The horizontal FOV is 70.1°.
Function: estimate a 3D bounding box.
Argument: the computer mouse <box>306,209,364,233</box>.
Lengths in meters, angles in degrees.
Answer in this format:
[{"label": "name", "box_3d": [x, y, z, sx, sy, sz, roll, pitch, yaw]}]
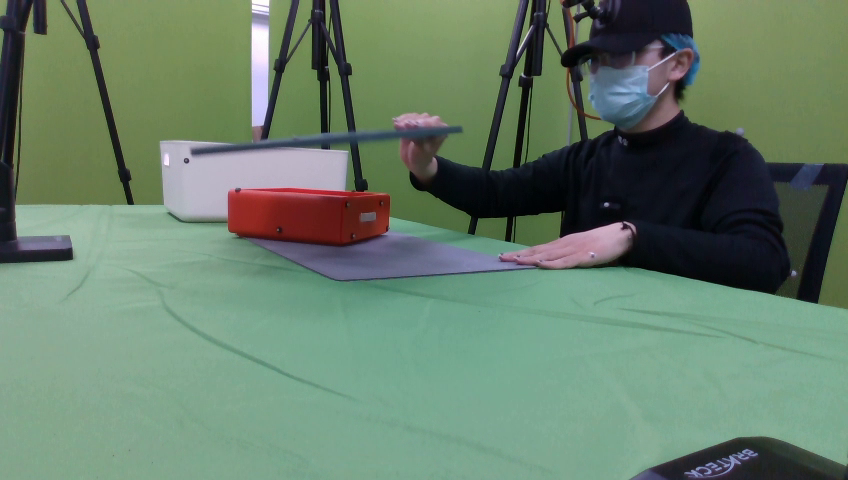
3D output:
[{"label": "computer mouse", "box_3d": [-0.153, -0.032, 1.052, 0.062, 0.041, 0.117, 1, 0, 18]}]

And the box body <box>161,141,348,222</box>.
[{"label": "box body", "box_3d": [-0.379, -0.132, 1.352, 0.366, 0.160, 0.253, -2, 8, -30]}]

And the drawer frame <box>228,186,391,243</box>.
[{"label": "drawer frame", "box_3d": [-0.193, -0.050, 1.060, 0.213, 0.082, 0.202, 4, 8, 17]}]

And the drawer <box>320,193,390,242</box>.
[{"label": "drawer", "box_3d": [-0.189, -0.048, 1.060, 0.211, 0.073, 0.195, 4, 8, 18]}]

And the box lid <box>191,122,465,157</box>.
[{"label": "box lid", "box_3d": [-0.111, -0.145, 0.860, 0.262, 0.015, 0.372, 0, 12, 21]}]
